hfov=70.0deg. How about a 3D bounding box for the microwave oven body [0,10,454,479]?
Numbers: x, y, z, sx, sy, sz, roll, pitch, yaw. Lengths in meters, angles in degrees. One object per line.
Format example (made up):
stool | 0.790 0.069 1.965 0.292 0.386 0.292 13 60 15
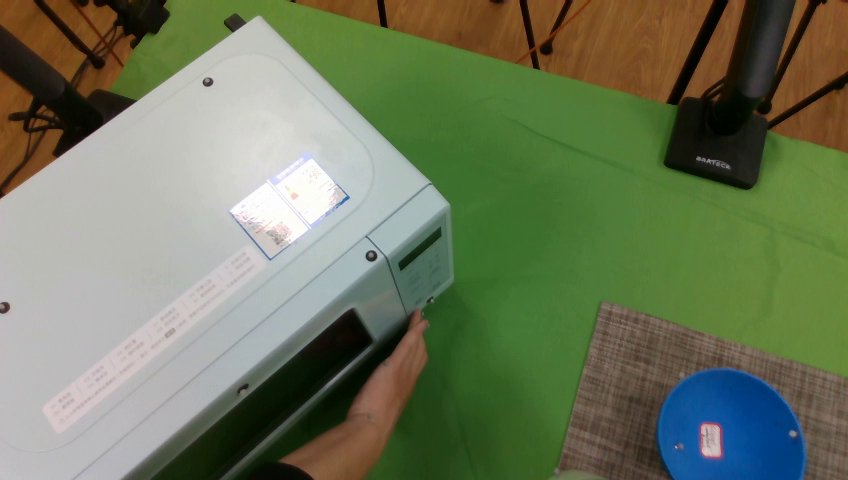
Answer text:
microwave oven body | -0.235 0.032 0.667 0.441 0.262 0.324 -41 73 -11

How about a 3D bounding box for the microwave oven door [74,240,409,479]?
microwave oven door | -0.169 0.157 0.611 0.355 0.245 0.039 -41 71 -12

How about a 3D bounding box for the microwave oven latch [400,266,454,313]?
microwave oven latch | 0.002 0.054 0.749 0.079 0.030 0.030 -38 72 -10

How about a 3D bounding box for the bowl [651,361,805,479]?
bowl | 0.318 0.214 0.665 0.151 0.077 0.150 -1 69 3

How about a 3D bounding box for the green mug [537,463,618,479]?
green mug | 0.157 0.266 0.556 0.092 0.105 0.124 -42 75 -13
